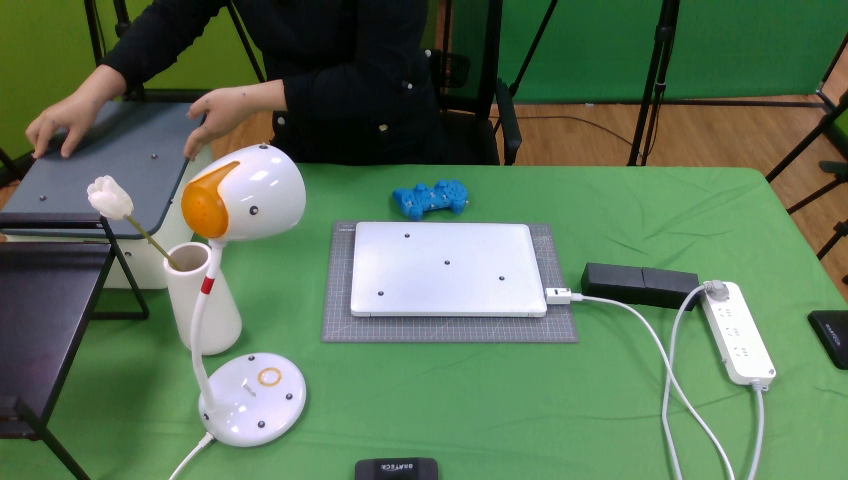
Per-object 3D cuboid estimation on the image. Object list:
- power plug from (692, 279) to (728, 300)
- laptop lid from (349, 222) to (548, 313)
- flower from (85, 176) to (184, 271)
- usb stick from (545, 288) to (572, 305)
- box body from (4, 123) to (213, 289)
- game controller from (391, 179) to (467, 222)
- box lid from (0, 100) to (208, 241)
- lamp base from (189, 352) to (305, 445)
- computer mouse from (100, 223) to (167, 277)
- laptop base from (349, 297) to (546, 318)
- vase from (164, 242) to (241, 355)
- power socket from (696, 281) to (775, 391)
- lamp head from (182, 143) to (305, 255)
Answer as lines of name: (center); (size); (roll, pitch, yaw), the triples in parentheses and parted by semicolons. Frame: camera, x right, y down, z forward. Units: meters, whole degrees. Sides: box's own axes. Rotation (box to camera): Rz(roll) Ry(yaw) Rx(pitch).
power plug: (0.522, 0.092, 1.115); (0.072, 0.053, 0.035); (9, 47, 7)
laptop lid: (0.041, 0.046, 1.143); (0.357, 0.013, 0.240); (2, 44, -3)
flower: (-0.364, 0.038, 0.894); (0.038, 0.364, 0.044); (-6, 53, 14)
usb stick: (0.236, 0.102, 1.101); (0.059, 0.027, 0.021); (-2, 47, 2)
box body: (-0.563, -0.086, 1.139); (0.254, 0.161, 0.361); (2, 46, -3)
game controller: (0.016, -0.093, 1.273); (0.155, 0.052, 0.096); (-11, 53, -14)
box lid: (-0.559, -0.136, 1.084); (0.263, 0.015, 0.369); (2, 46, -2)
lamp base: (-0.268, 0.196, 0.876); (0.160, 0.181, 0.179); (26, 52, 20)
computer mouse: (-0.539, 0.014, 1.123); (0.062, 0.041, 0.117); (30, 57, 18)
laptop base: (0.041, 0.055, 1.149); (0.355, 0.023, 0.234); (0, 43, -4)
vase: (-0.349, 0.096, 0.954); (0.098, 0.201, 0.097); (3, 47, -3)
power socket: (0.550, 0.160, 1.078); (0.072, 0.033, 0.225); (2, 47, -2)
lamp head: (-0.216, -0.044, 0.697); (0.112, 0.113, 0.123); (23, 31, 17)
